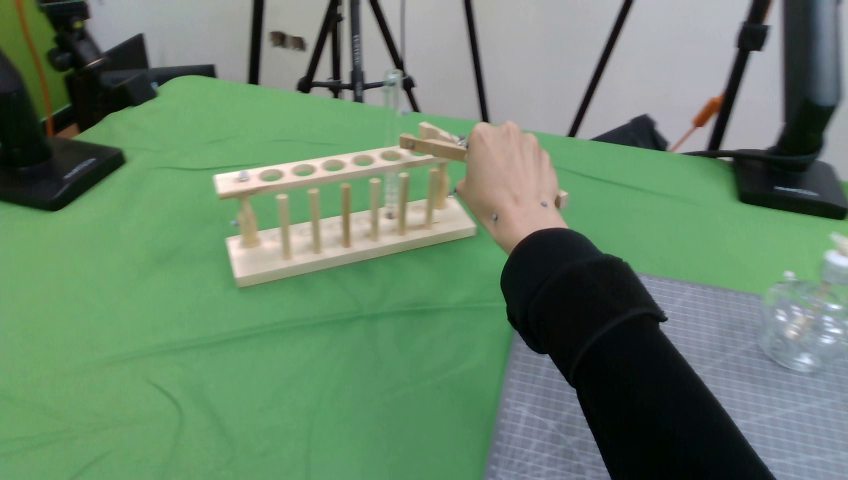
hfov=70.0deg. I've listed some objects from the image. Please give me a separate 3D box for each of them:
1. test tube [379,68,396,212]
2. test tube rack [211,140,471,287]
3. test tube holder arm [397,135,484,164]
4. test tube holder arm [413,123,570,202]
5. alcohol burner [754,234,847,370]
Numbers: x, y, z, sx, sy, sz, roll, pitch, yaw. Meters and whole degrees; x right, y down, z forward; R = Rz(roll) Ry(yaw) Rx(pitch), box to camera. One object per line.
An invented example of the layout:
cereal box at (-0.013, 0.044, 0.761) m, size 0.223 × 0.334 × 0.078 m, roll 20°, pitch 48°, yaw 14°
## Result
test tube at (-0.036, -0.093, 0.595) m, size 0.017 × 0.151 × 0.017 m, roll 2°, pitch 35°, yaw -1°
test tube rack at (-0.073, -0.033, 0.597) m, size 0.243 × 0.086 × 0.066 m, roll -13°, pitch 40°, yaw -19°
test tube holder arm at (0.015, -0.082, 0.549) m, size 0.087 × 0.015 × 0.010 m, roll 12°, pitch 43°, yaw 24°
test tube holder arm at (0.053, -0.071, 0.528) m, size 0.013 × 0.015 × 0.176 m, roll -36°, pitch 47°, yaw -29°
alcohol burner at (0.315, 0.047, 0.488) m, size 0.078 × 0.120 × 0.077 m, roll 1°, pitch 36°, yaw 0°
